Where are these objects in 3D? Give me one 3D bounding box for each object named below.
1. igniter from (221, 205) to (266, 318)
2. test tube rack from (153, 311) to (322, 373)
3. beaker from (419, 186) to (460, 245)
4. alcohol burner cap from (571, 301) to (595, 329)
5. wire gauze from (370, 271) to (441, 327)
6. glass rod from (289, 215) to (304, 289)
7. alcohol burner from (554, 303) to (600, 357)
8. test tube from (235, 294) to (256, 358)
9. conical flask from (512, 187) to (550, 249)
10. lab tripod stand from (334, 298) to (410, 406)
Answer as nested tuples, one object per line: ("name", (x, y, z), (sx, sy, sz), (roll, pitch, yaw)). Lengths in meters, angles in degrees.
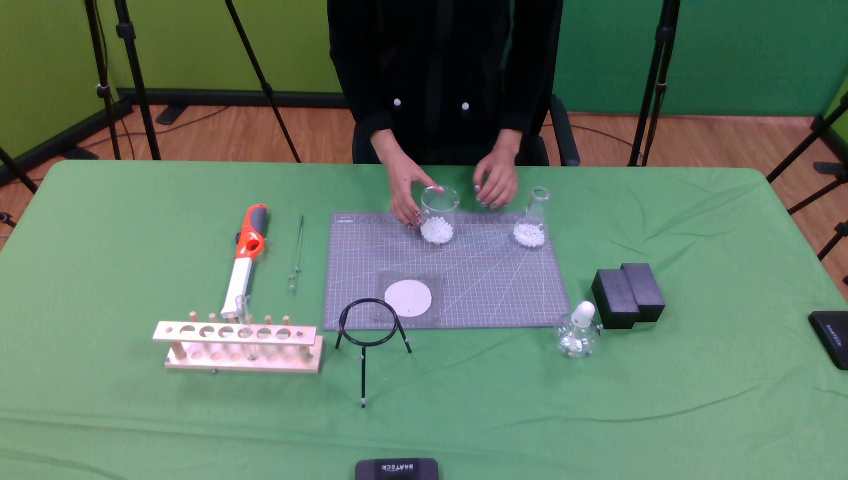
("igniter", (-0.337, 0.030, 1.140), (0.057, 0.025, 0.274), (-6, 46, 3))
("test tube rack", (-0.293, 0.160, 0.977), (0.242, 0.085, 0.066), (3, 46, -2))
("beaker", (0.025, -0.047, 1.190), (0.074, 0.101, 0.083), (-29, 54, -28))
("alcohol burner cap", (0.262, 0.120, 0.991), (0.034, 0.048, 0.033), (2, 52, -2))
("wire gauze", (-0.032, 0.103, 1.104), (0.125, 0.011, 0.121), (4, 46, 3))
("glass rod", (-0.246, 0.019, 1.171), (0.008, 0.008, 0.198), (1, 43, -3))
("alcohol burner", (0.260, 0.143, 1.018), (0.078, 0.119, 0.077), (3, 45, -3))
("test tube", (-0.274, 0.136, 0.933), (0.017, 0.151, 0.017), (4, 46, -4))
("conical flask", (0.217, -0.048, 1.190), (0.075, 0.122, 0.075), (2, 46, -2))
("lab tripod stand", (-0.085, 0.164, 0.957), (0.148, 0.132, 0.147), (3, 44, -2))
